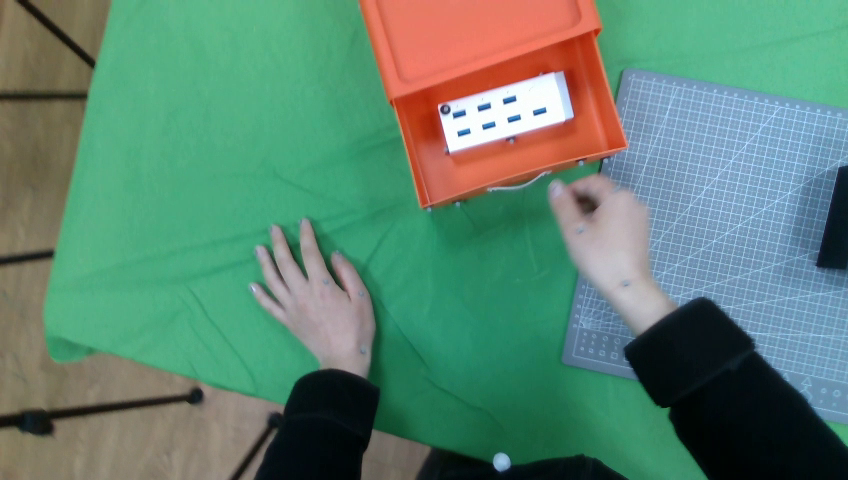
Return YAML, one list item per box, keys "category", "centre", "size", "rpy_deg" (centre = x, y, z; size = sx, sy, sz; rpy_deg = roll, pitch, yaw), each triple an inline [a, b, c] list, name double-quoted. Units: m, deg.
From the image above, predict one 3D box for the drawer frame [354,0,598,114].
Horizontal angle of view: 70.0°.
- category: "drawer frame"
  centre: [0.030, -0.254, 0.572]
  size: [0.201, 0.083, 0.213]
  rpy_deg: [-19, 89, 5]

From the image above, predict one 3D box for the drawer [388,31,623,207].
- category: "drawer"
  centre: [0.060, -0.155, 0.576]
  size: [0.194, 0.073, 0.211]
  rpy_deg: [-16, 90, 5]

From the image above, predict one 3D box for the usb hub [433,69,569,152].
- category: "usb hub"
  centre: [0.074, -0.127, 0.595]
  size: [0.125, 0.025, 0.049]
  rpy_deg: [-15, 89, 3]
